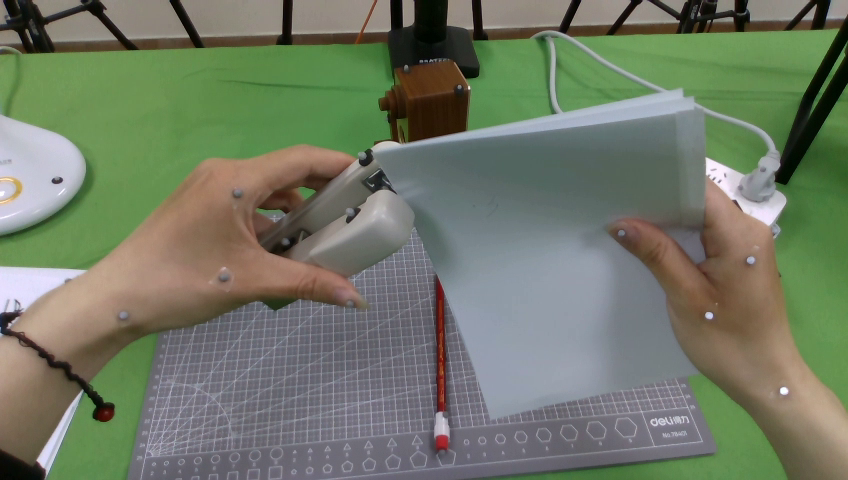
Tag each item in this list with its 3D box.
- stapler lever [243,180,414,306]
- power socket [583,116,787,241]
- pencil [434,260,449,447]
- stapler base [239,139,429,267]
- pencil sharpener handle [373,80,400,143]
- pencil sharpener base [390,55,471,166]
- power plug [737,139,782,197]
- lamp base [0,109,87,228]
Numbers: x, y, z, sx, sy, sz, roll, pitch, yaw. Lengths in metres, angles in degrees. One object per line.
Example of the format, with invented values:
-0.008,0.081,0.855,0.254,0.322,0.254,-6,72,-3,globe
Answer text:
-0.056,0.008,0.340,0.118,0.027,0.040,-33,32,23,stapler lever
0.289,-0.074,0.678,0.225,0.033,0.072,34,54,26,power socket
0.014,0.088,0.530,0.012,0.012,0.192,1,46,-1,pencil
-0.055,-0.009,0.357,0.130,0.042,0.024,-32,32,24,stapler base
-0.043,-0.135,0.650,0.031,0.068,0.035,-12,27,-13,pencil sharpener handle
0.004,-0.140,0.675,0.077,0.108,0.060,-12,50,-13,pencil sharpener base
0.364,-0.068,0.645,0.072,0.053,0.035,-30,55,-25,power plug
-0.451,-0.128,0.592,0.161,0.182,0.177,-29,52,-26,lamp base
